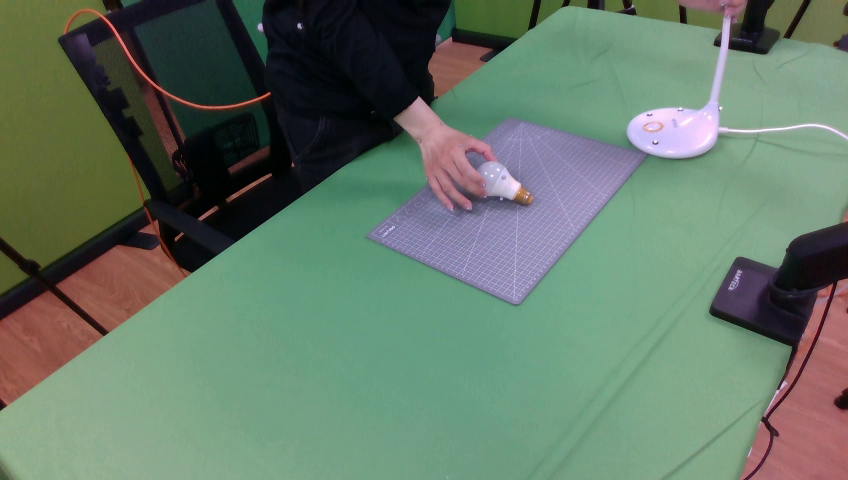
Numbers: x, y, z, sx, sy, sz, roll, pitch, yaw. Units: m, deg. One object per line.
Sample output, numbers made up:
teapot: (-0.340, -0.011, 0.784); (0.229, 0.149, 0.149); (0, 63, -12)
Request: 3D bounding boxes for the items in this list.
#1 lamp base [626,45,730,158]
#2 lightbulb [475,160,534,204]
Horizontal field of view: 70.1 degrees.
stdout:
lamp base: (0.468, -0.262, 1.085); (0.179, 0.181, 0.159); (-4, 41, -1)
lightbulb: (0.137, -0.094, 1.023); (0.107, 0.059, 0.059); (30, 49, 6)
